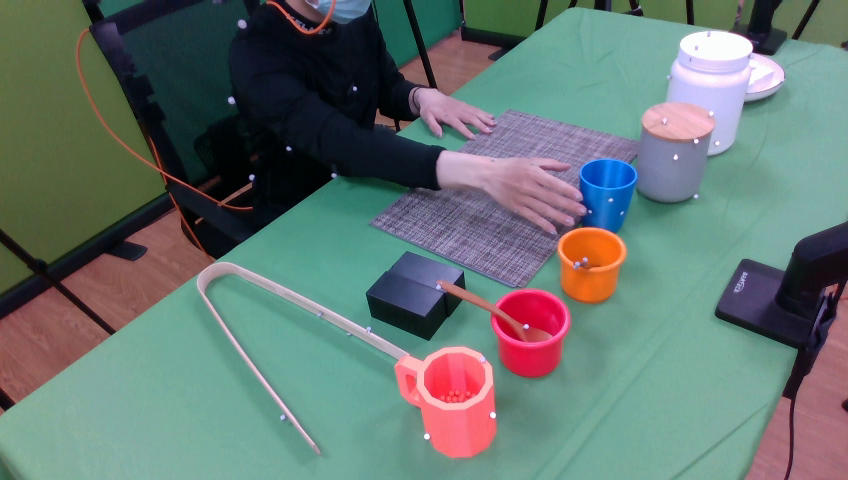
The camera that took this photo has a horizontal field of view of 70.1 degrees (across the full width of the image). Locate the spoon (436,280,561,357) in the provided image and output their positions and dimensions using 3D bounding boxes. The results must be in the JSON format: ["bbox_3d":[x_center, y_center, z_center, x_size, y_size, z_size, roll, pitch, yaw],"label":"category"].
[{"bbox_3d":[0.096,0.095,0.758,0.195,0.021,0.041,34,40,-20],"label":"spoon"}]

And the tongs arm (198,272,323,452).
[{"bbox_3d":[-0.236,0.153,0.829,0.028,0.028,0.384,-36,47,-19],"label":"tongs arm"}]

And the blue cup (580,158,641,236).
[{"bbox_3d":[0.284,-0.063,0.947,0.092,0.100,0.092,-3,40,3],"label":"blue cup"}]

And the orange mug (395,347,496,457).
[{"bbox_3d":[0.024,0.181,0.703,0.125,0.101,0.083,21,48,23],"label":"orange mug"}]

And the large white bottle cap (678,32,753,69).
[{"bbox_3d":[0.491,-0.321,1.021,0.115,0.018,0.114,-4,41,4],"label":"large white bottle cap"}]

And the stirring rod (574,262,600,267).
[{"bbox_3d":[0.221,0.033,0.817,0.014,0.006,0.177,9,1,22],"label":"stirring rod"}]

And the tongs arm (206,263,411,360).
[{"bbox_3d":[-0.179,0.106,0.870,0.381,0.026,0.051,23,53,32],"label":"tongs arm"}]

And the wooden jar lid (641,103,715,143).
[{"bbox_3d":[0.398,-0.180,0.952,0.108,0.021,0.108,-4,43,4],"label":"wooden jar lid"}]

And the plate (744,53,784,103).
[{"bbox_3d":[0.631,-0.336,1.262,0.207,0.039,0.206,-4,41,4],"label":"plate"}]

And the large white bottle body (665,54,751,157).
[{"bbox_3d":[0.500,-0.257,1.076,0.130,0.185,0.130,-4,41,4],"label":"large white bottle body"}]

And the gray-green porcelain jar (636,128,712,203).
[{"bbox_3d":[0.405,-0.133,0.992,0.106,0.127,0.105,-4,40,4],"label":"gray-green porcelain jar"}]
